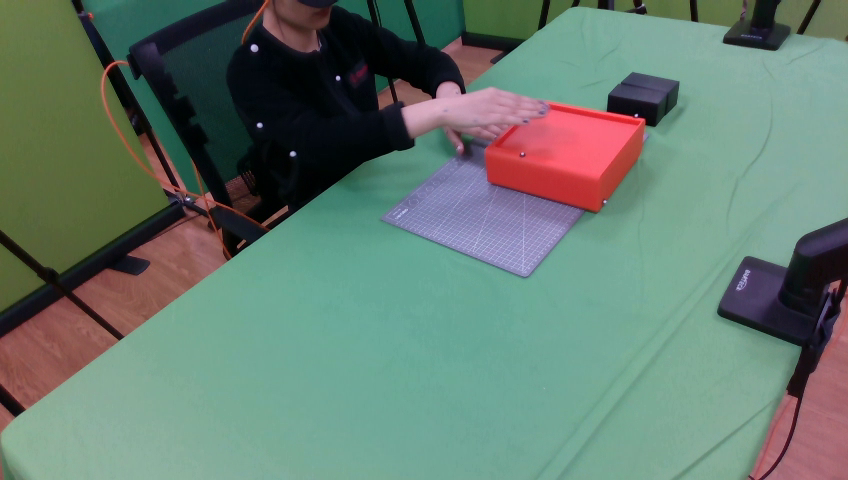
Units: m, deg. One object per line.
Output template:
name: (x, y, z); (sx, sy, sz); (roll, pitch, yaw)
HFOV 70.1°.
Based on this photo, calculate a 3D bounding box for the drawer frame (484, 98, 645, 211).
drawer frame: (0.248, -0.158, 1.070); (0.212, 0.083, 0.202); (20, 47, 29)

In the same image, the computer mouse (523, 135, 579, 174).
computer mouse: (0.232, -0.163, 1.100); (0.062, 0.041, 0.117); (19, 41, 34)

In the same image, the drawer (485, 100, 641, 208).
drawer: (0.246, -0.158, 1.072); (0.210, 0.073, 0.195); (20, 47, 30)
